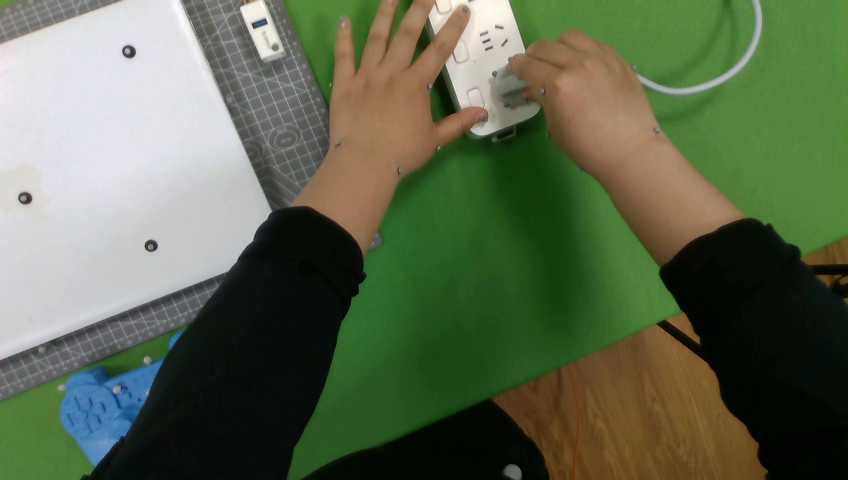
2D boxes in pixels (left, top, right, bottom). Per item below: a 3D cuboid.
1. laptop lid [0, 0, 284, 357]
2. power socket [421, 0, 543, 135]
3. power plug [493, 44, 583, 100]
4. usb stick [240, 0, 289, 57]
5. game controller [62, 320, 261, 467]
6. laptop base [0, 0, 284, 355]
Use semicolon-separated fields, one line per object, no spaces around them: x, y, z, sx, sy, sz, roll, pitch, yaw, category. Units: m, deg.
-0.323;-0.039;0.497;0.357;0.013;0.242;-20;102;-4;laptop lid
0.038;-0.202;0.521;0.072;0.032;0.227;-21;100;-2;power socket
0.095;-0.140;0.516;0.073;0.052;0.035;-9;98;-8;power plug
-0.135;-0.185;0.504;0.021;0.027;0.059;-22;98;0;usb stick
-0.232;0.134;0.528;0.155;0.051;0.097;-21;93;-4;game controller
-0.325;-0.043;0.508;0.354;0.023;0.236;-22;103;-3;laptop base
